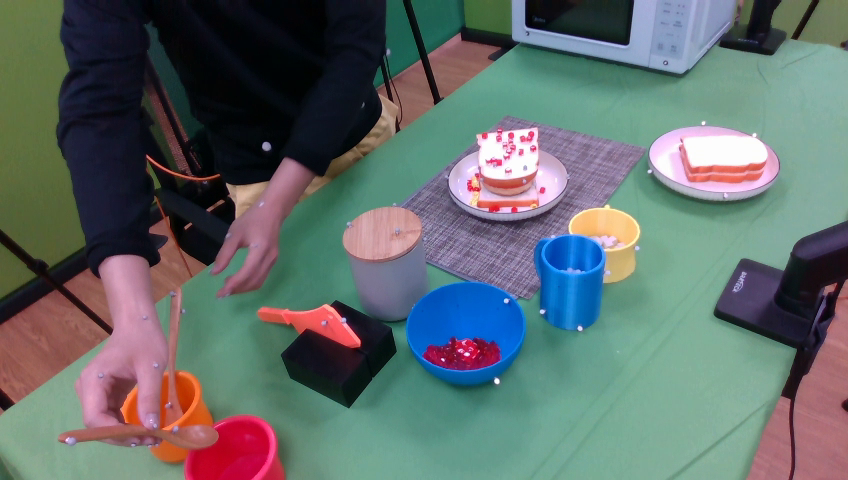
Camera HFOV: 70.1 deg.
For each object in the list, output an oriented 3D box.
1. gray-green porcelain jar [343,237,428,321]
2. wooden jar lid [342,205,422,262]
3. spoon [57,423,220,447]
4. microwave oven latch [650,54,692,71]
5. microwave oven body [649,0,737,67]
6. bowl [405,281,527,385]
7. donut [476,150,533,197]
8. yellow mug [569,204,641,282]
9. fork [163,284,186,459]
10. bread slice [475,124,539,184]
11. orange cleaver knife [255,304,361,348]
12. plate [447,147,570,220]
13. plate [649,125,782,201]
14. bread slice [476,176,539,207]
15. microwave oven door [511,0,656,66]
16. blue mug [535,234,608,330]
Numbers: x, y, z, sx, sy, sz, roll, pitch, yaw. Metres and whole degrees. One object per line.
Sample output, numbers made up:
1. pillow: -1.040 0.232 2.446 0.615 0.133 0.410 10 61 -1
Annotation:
1. gray-green porcelain jar: -0.050 0.042 0.849 0.106 0.127 0.105 -5 41 4
2. wooden jar lid: -0.055 -0.005 0.808 0.108 0.021 0.108 -6 40 6
3. spoon: -0.256 0.179 0.561 0.041 0.195 0.021 21 79 23
4. microwave oven latch: 0.531 -0.386 1.301 0.078 0.029 0.030 25 51 33
5. microwave oven body: 0.475 -0.602 1.411 0.438 0.261 0.327 23 50 32
6. bowl: 0.055 0.131 0.767 0.151 0.077 0.150 -4 40 4
7. donut: 0.138 -0.116 1.025 0.099 0.048 0.098 -8 55 12
8. yellow mug: 0.268 -0.005 0.904 0.099 0.064 0.130 7 41 15
9. fork: -0.303 0.157 0.733 0.028 0.019 0.207 -3 84 13
10. bread slice: 0.143 -0.144 1.009 0.107 0.018 0.133 -8 46 7
11. orange cleaver knife: -0.160 0.115 0.814 0.210 0.077 0.012 -4 34 47
12. plate: 0.145 -0.098 1.046 0.209 0.038 0.208 -4 40 4
13. plate: 0.493 -0.127 1.036 0.207 0.039 0.206 -4 41 4
14. bread slice: 0.144 -0.103 1.059 0.105 0.019 0.131 -1 45 5
15. microwave oven door: 0.351 -0.539 1.348 0.353 0.245 0.039 24 50 31
16. blue mug: 0.191 0.048 0.824 0.082 0.106 0.115 -26 44 -21
